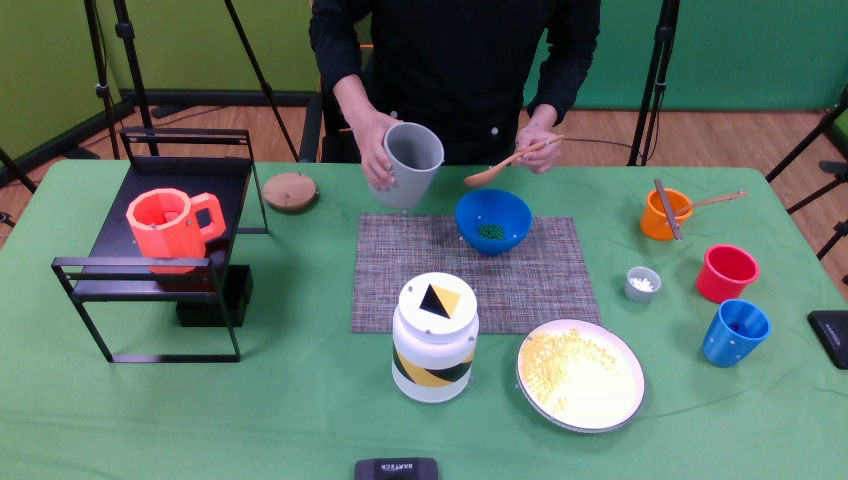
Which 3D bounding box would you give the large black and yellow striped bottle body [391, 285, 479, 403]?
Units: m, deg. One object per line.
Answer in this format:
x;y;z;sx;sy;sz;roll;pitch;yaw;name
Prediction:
0.015;0.153;0.938;0.131;0.185;0.130;2;46;-2;large black and yellow striped bottle body

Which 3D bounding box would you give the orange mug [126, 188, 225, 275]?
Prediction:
-0.357;-0.019;0.884;0.126;0.101;0.083;-29;54;-23;orange mug

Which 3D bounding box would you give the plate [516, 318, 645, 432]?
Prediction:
0.253;0.221;0.992;0.209;0.038;0.208;2;46;-2;plate

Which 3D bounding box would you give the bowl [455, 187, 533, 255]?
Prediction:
0.131;-0.025;1.186;0.151;0.077;0.150;2;46;-2;bowl

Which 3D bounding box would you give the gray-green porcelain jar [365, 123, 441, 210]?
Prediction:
-0.040;-0.121;1.045;0.106;0.127;0.105;11;55;-17;gray-green porcelain jar

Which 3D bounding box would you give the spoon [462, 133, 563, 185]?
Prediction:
0.153;-0.143;1.066;0.194;0.042;0.021;-29;62;19;spoon

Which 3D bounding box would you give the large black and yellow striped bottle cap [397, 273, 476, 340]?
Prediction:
0.018;0.094;0.878;0.115;0.019;0.114;3;46;-3;large black and yellow striped bottle cap

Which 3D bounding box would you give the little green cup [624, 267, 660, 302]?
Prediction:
0.406;0.084;1.135;0.061;0.039;0.061;3;45;-3;little green cup

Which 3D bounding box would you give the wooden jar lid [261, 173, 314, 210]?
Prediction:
-0.286;-0.101;1.273;0.108;0.021;0.107;3;45;-3;wooden jar lid

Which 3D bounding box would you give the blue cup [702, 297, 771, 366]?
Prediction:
0.519;0.162;1.025;0.093;0.101;0.092;3;45;-3;blue cup

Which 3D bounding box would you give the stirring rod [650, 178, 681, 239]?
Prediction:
0.479;-0.065;1.204;0.014;0.006;0.175;3;46;-4;stirring rod

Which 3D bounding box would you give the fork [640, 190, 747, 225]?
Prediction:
0.533;-0.065;1.211;0.207;0.019;0.028;-22;28;39;fork
